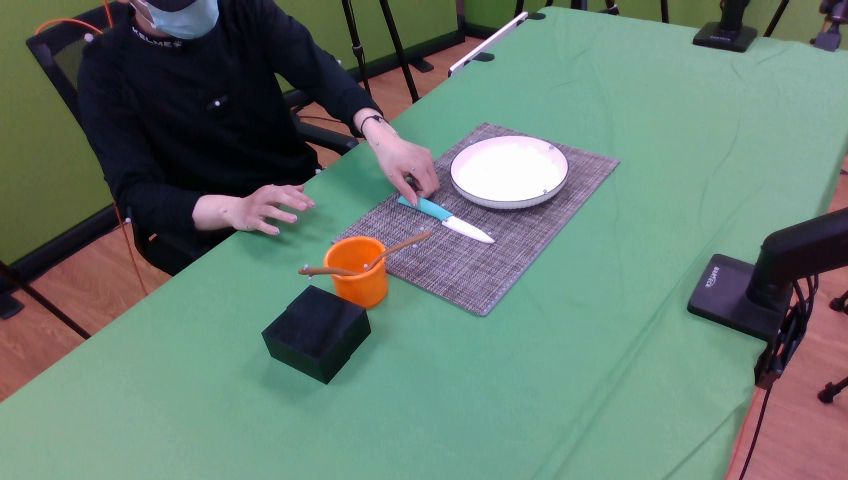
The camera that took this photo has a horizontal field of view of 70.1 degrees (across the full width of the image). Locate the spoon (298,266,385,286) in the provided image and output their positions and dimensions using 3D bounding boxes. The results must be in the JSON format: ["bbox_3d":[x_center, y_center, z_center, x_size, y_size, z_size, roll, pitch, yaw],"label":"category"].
[{"bbox_3d":[-0.111,0.047,0.826,0.041,0.195,0.021,-25,71,23],"label":"spoon"}]

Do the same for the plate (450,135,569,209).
[{"bbox_3d":[0.149,-0.117,1.065,0.209,0.038,0.208,-4,41,4],"label":"plate"}]

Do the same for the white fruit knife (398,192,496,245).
[{"bbox_3d":[0.037,-0.038,1.008,0.205,0.016,0.027,29,81,32],"label":"white fruit knife"}]

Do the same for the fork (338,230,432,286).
[{"bbox_3d":[-0.058,0.028,0.846,0.206,0.018,0.028,-34,5,43],"label":"fork"}]
